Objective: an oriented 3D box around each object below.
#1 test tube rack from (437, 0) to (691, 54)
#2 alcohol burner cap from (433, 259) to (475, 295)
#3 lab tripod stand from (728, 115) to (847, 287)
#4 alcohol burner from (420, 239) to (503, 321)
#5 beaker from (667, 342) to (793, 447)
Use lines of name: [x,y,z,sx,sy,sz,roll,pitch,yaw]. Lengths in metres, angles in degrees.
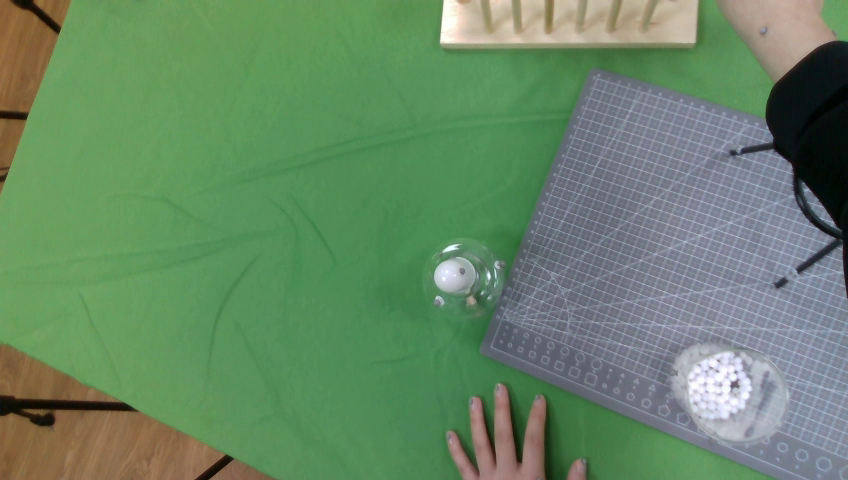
test tube rack: [0.127,-0.223,0.566,0.242,0.085,0.066,3,86,12]
alcohol burner cap: [0.023,0.032,0.517,0.034,0.048,0.034,0,89,13]
lab tripod stand: [0.318,-0.034,0.482,0.148,0.132,0.148,-1,87,11]
alcohol burner: [0.032,0.036,0.552,0.078,0.119,0.077,-1,83,11]
beaker: [0.244,0.121,0.504,0.083,0.101,0.074,28,91,14]
